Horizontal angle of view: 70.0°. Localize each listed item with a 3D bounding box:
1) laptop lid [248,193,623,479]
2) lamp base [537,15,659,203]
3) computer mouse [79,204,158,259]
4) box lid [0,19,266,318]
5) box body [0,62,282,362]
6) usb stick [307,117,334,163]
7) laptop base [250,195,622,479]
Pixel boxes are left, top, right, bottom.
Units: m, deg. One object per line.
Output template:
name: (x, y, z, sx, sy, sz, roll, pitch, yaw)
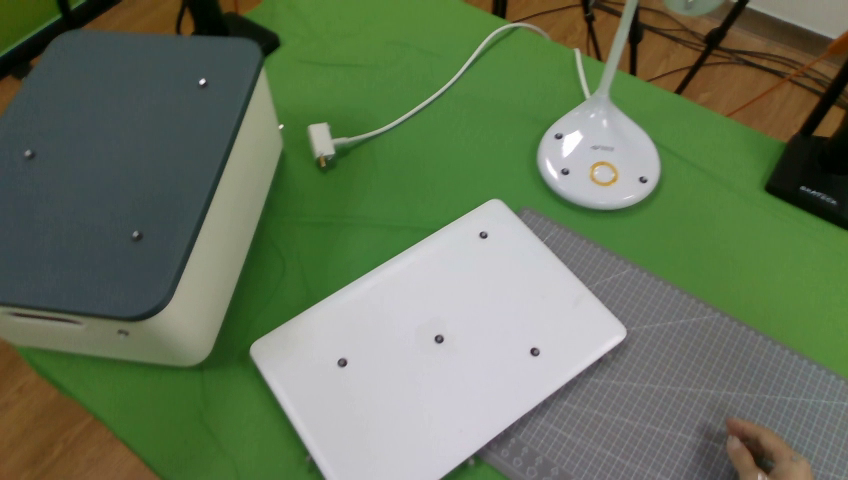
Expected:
laptop lid: (0.015, 0.105, 0.663, 0.357, 0.013, 0.239, -30, 64, -17)
lamp base: (0.228, -0.166, 0.747, 0.161, 0.182, 0.177, -3, 55, -2)
computer mouse: (-0.366, -0.018, 0.728, 0.063, 0.041, 0.116, -20, 19, -1)
box lid: (-0.333, -0.099, 0.632, 0.263, 0.015, 0.368, 6, 59, 4)
box body: (-0.333, -0.058, 0.694, 0.254, 0.162, 0.361, 6, 58, 4)
usb stick: (-0.138, -0.134, 0.814, 0.027, 0.021, 0.059, -10, 88, -23)
laptop base: (0.014, 0.110, 0.675, 0.354, 0.023, 0.233, -32, 66, -17)
